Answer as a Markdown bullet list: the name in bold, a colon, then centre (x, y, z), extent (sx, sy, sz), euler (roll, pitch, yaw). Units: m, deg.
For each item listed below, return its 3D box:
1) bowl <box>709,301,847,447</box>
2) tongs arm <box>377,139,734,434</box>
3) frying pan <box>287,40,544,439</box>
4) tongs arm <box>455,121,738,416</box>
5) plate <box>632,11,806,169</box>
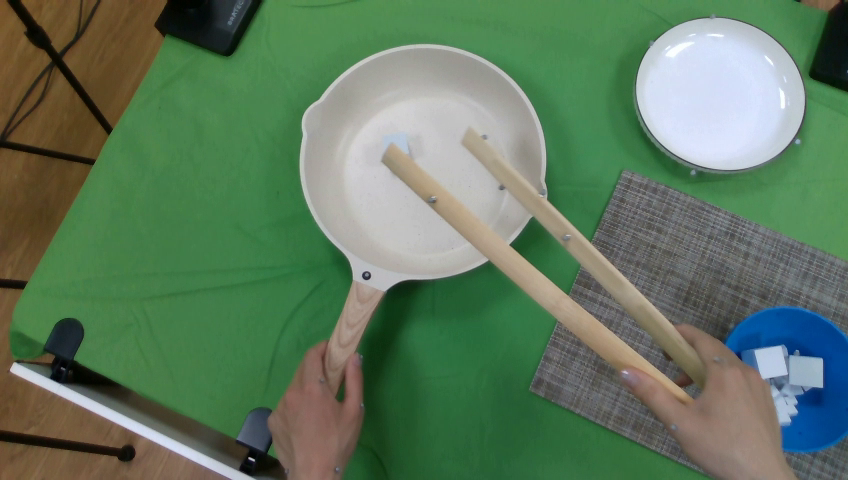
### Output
- **bowl**: centre (0.381, 0.145, 0.668), extent (0.151, 0.077, 0.150), euler (0, 79, 2)
- **tongs arm**: centre (0.101, 0.034, 0.536), extent (0.385, 0.028, 0.028), euler (41, 124, 13)
- **frying pan**: centre (-0.045, -0.007, 0.708), extent (0.306, 0.103, 0.486), euler (22, 72, 7)
- **tongs arm**: centre (0.145, 0.015, 0.586), extent (0.051, 0.026, 0.382), euler (-20, 60, -47)
- **plate**: centre (0.364, -0.184, 0.761), extent (0.207, 0.039, 0.206), euler (0, 78, 3)
